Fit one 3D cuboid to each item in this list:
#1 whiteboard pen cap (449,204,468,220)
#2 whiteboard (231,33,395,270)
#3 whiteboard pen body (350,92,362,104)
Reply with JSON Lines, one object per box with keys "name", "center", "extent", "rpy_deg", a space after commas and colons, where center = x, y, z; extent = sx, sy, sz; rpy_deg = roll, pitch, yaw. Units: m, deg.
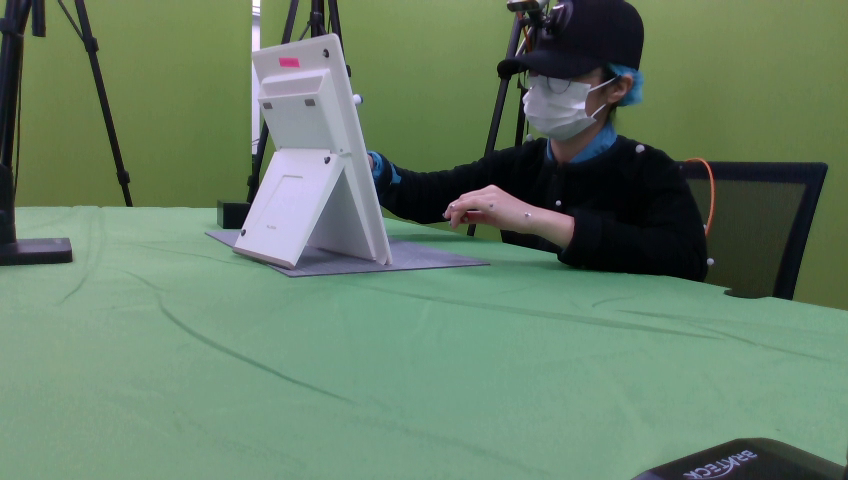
{"name": "whiteboard pen cap", "center": [0.052, -0.043, 0.909], "extent": [0.017, 0.017, 0.032], "rpy_deg": [-2, 17, -26]}
{"name": "whiteboard", "center": [-0.193, -0.094, 0.805], "extent": [0.144, 0.305, 0.216], "rpy_deg": [-28, 25, -35]}
{"name": "whiteboard pen body", "center": [-0.147, -0.199, 0.912], "extent": [0.017, 0.017, 0.141], "rpy_deg": [9, 30, 41]}
